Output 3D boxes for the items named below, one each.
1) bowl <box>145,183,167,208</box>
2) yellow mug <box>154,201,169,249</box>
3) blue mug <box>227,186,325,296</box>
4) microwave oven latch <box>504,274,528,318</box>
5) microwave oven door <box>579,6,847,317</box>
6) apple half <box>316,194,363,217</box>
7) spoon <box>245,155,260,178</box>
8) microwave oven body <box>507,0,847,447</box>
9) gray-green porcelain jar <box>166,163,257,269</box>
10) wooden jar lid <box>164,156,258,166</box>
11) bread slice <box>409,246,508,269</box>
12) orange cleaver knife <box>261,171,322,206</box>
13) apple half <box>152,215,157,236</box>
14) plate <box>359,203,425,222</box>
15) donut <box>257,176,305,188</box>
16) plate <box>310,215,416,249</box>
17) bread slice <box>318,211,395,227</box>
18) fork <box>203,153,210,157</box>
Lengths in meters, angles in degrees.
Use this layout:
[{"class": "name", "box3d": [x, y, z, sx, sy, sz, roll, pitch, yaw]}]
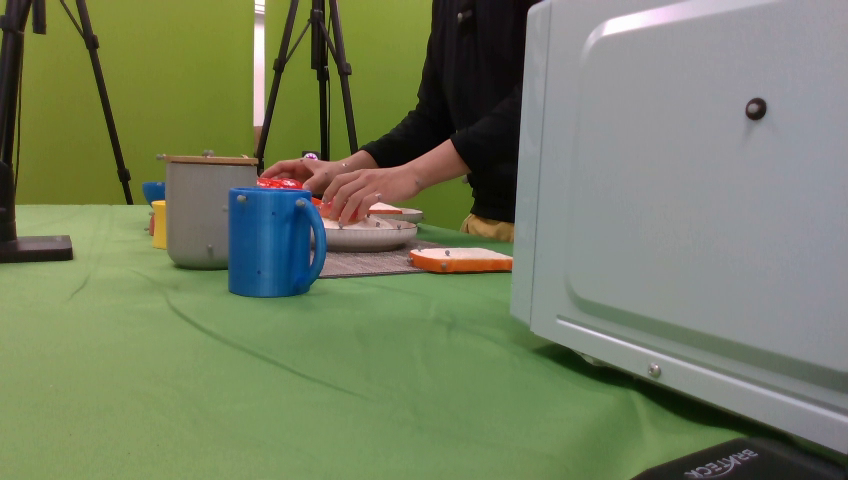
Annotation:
[{"class": "bowl", "box3d": [-0.459, -0.069, 1.175, 0.151, 0.077, 0.151, 2, 7, 0]}, {"class": "yellow mug", "box3d": [-0.337, -0.022, 0.899, 0.130, 0.064, 0.100, 8, 9, 34]}, {"class": "blue mug", "box3d": [-0.147, 0.000, 0.618, 0.116, 0.106, 0.083, 7, 9, 32]}, {"class": "microwave oven latch", "box3d": [0.100, 0.041, 0.470, 0.079, 0.029, 0.030, -1, 7, -27]}, {"class": "microwave oven door", "box3d": [0.294, -0.067, 0.570, 0.358, 0.243, 0.039, -3, 9, -31]}, {"class": "apple half", "box3d": [-0.138, -0.060, 0.990, 0.081, 0.033, 0.081, 2, 14, 0]}, {"class": "spoon", "box3d": [-0.421, -0.150, 1.540, 0.042, 0.021, 0.193, -5, 55, -37]}, {"class": "microwave oven body", "box3d": [0.331, -0.042, 0.425, 0.444, 0.260, 0.324, -2, 8, -31]}, {"class": "gray-green porcelain jar", "box3d": [-0.263, -0.031, 0.754, 0.106, 0.126, 0.106, 2, 7, 0]}, {"class": "wooden jar lid", "box3d": [-0.261, -0.093, 0.746, 0.108, 0.020, 0.108, 1, 9, 0]}, {"class": "bread slice", "box3d": [0.048, 0.021, 0.816, 0.132, 0.019, 0.104, 0, 7, -24]}, {"class": "orange cleaver knife", "box3d": [-0.283, -0.087, 1.343, 0.212, 0.077, 0.012, 24, -16, -41]}, {"class": "apple half", "box3d": [-0.416, -0.034, 1.017, 0.081, 0.053, 0.074, 1, 10, -9]}, {"class": "plate", "box3d": [-0.102, -0.053, 1.299, 0.209, 0.038, 0.209, 2, 7, 0]}, {"class": "donut", "box3d": [-0.262, -0.090, 1.083, 0.099, 0.048, 0.099, 2, 6, 0]}, {"class": "plate", "box3d": [-0.116, -0.014, 0.967, 0.208, 0.039, 0.207, 2, 7, 0]}, {"class": "bread slice", "box3d": [-0.115, -0.025, 0.969, 0.135, 0.018, 0.106, -6, 26, -43]}, {"class": "fork", "box3d": [-0.480, -0.136, 1.412, 0.028, 0.018, 0.207, 0, -34, -1]}]
